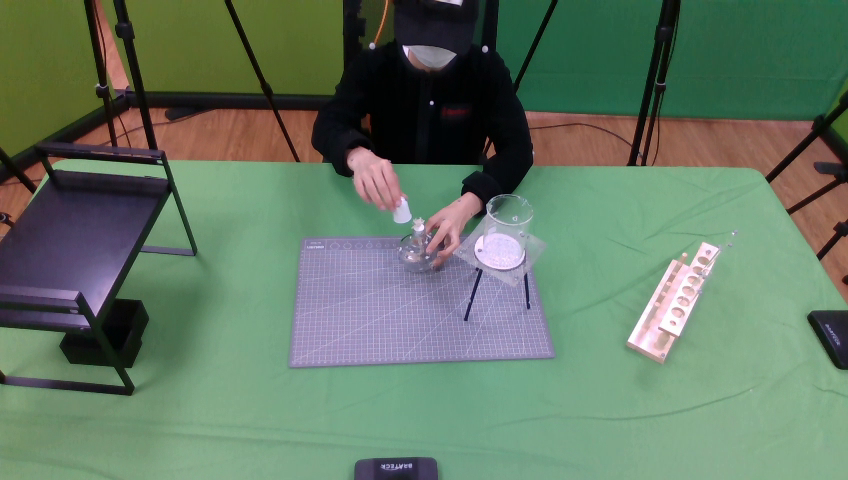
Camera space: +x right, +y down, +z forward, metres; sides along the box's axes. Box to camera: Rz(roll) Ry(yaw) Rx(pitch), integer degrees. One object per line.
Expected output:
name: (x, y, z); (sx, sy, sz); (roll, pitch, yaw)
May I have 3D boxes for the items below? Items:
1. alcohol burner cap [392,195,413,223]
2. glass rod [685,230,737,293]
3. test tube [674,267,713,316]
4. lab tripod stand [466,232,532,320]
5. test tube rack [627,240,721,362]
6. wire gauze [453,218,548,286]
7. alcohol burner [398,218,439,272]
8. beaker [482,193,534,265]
alcohol burner cap: (-0.039, -0.057, 1.057); (0.034, 0.048, 0.033); (-6, 40, 5)
glass rod: (0.495, 0.043, 1.051); (0.008, 0.200, 0.008); (2, 55, -2)
test tube: (0.445, 0.098, 1.017); (0.017, 0.151, 0.017); (4, 49, -4)
lab tripod stand: (0.125, 0.059, 1.065); (0.148, 0.132, 0.147); (1, 45, 0)
test tube rack: (0.452, 0.098, 1.087); (0.066, 0.085, 0.242); (28, 51, 22)
wire gauze: (0.129, 0.014, 1.018); (0.124, 0.011, 0.121); (26, 47, 25)
alcohol burner: (-0.010, 0.004, 1.124); (0.078, 0.120, 0.077); (1, 48, -1)
beaker: (0.135, -0.016, 0.979); (0.073, 0.101, 0.084); (35, 52, 28)
